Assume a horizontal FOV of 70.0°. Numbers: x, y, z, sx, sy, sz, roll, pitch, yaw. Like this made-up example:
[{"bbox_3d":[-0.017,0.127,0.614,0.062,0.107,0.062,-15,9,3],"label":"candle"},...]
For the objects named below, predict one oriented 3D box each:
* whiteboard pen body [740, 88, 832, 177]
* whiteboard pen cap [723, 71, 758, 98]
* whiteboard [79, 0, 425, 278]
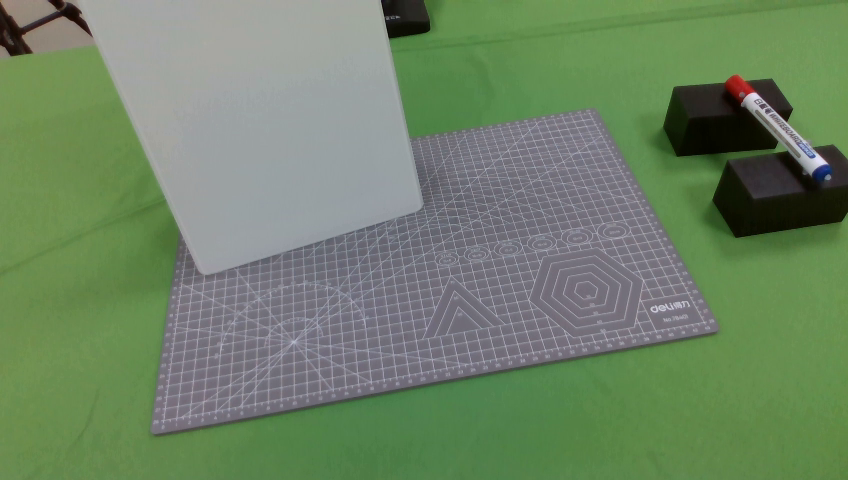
[{"bbox_3d":[0.318,-0.107,0.547,0.017,0.017,0.139,-13,49,-5],"label":"whiteboard pen body"},{"bbox_3d":[0.306,-0.148,0.585,0.017,0.017,0.032,-15,48,-6],"label":"whiteboard pen cap"},{"bbox_3d":[-0.146,-0.157,0.549,0.217,0.308,0.142,-17,31,-9],"label":"whiteboard"}]
